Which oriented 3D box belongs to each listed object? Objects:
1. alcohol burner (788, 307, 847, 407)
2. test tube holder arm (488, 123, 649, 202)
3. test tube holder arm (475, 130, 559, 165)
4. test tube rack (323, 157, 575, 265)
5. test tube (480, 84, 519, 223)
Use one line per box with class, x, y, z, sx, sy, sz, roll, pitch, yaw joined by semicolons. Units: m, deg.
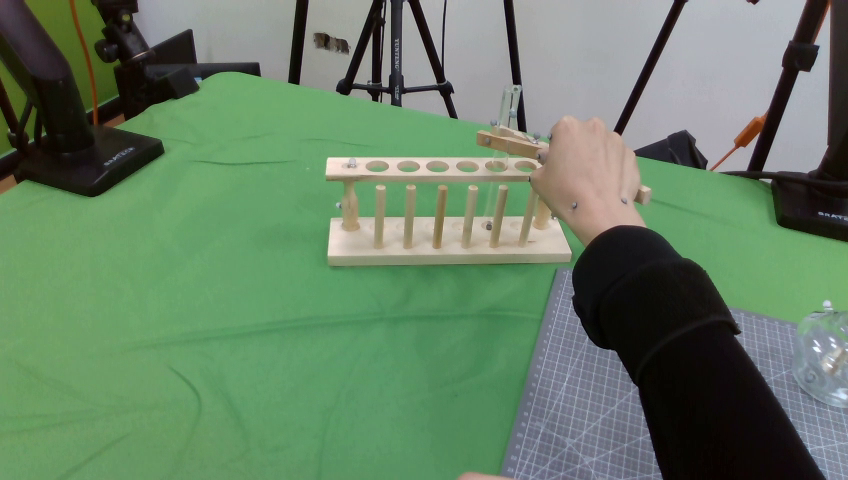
alcohol burner;0.331;0.071;0.466;0.078;0.120;0.077;2;35;-1
test tube holder arm;0.120;-0.072;0.531;0.013;0.015;0.176;-28;41;-29
test tube holder arm;0.085;-0.085;0.555;0.087;0.015;0.010;20;41;32
test tube rack;0.024;-0.029;0.601;0.243;0.086;0.066;0;37;-6
test tube;0.071;-0.079;0.587;0.017;0.151;0.017;4;39;-3
